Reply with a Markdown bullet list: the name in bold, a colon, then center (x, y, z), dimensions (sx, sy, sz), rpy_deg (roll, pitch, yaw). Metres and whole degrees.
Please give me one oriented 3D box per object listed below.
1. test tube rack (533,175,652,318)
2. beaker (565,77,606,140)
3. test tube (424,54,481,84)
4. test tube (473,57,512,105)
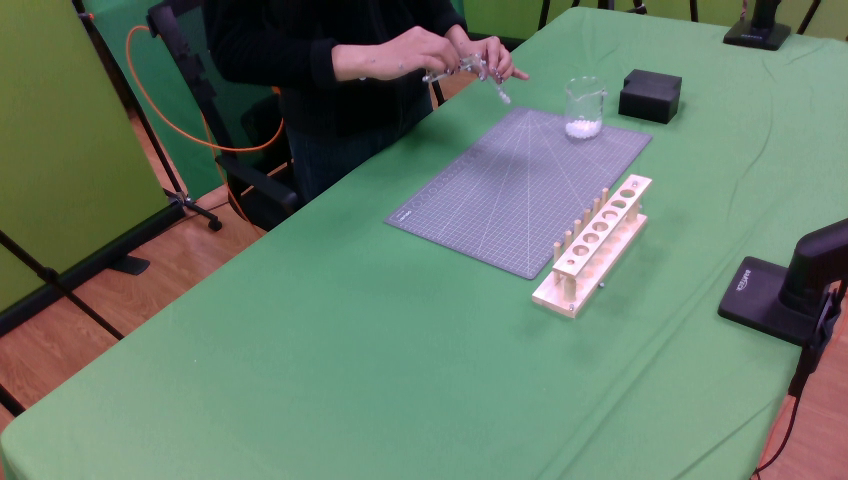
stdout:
- **test tube rack**: center (0.251, -0.001, 0.889), dimensions (0.066, 0.085, 0.243), rpy_deg (22, 49, 33)
- **beaker**: center (0.304, -0.247, 1.153), dimensions (0.073, 0.101, 0.084), rpy_deg (15, 47, 27)
- **test tube**: center (0.047, -0.276, 0.972), dimensions (0.017, 0.017, 0.151), rpy_deg (19, 36, 30)
- **test tube**: center (0.125, -0.283, 1.086), dimensions (0.017, 0.152, 0.017), rpy_deg (-10, 68, 27)
